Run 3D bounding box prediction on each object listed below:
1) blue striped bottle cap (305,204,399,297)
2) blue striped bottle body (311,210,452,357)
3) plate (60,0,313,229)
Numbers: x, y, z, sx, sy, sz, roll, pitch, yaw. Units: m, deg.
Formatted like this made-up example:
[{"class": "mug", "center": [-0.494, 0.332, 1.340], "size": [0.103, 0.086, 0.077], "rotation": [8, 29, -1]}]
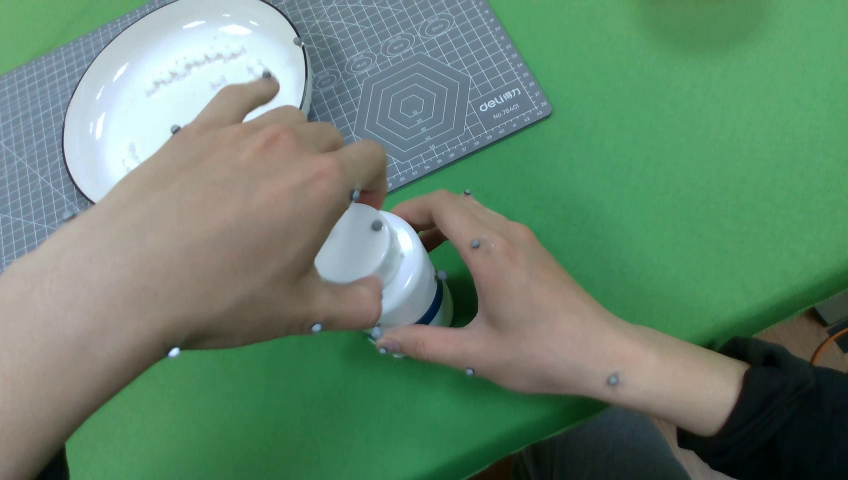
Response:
[{"class": "blue striped bottle cap", "center": [-0.036, 0.005, 0.303], "size": [0.044, 0.021, 0.044], "rotation": [-6, 67, 13]}, {"class": "blue striped bottle body", "center": [-0.024, 0.025, 0.352], "size": [0.063, 0.122, 0.062], "rotation": [-5, 66, 11]}, {"class": "plate", "center": [-0.183, -0.100, 0.482], "size": [0.207, 0.039, 0.206], "rotation": [-4, 67, 11]}]
